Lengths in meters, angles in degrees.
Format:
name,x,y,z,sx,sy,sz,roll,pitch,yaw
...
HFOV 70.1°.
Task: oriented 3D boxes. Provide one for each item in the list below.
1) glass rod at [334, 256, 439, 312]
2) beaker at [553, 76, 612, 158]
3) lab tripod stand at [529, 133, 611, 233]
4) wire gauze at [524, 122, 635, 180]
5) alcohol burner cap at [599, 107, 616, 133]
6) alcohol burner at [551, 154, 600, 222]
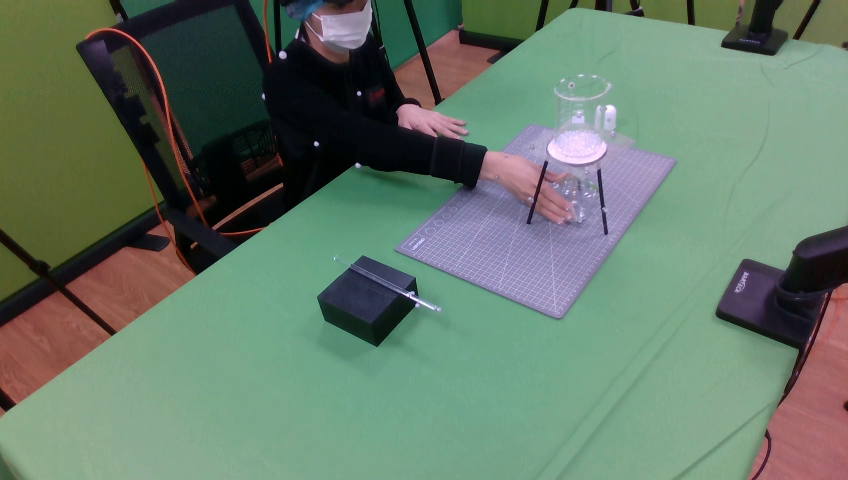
name,x,y,z,sx,sy,sz,roll,pitch,yaw
glass rod,-0.058,0.060,0.850,0.198,0.008,0.008,24,49,33
beaker,0.230,-0.178,0.882,0.084,0.101,0.073,-9,41,1
lab tripod stand,0.236,-0.089,0.953,0.148,0.132,0.147,-5,41,5
wire gauze,0.233,-0.142,0.913,0.122,0.011,0.124,-31,42,-26
alcohol burner cap,0.361,-0.239,1.189,0.034,0.048,0.033,-4,40,4
alcohol burner,0.243,-0.088,0.966,0.078,0.119,0.077,-3,41,3
